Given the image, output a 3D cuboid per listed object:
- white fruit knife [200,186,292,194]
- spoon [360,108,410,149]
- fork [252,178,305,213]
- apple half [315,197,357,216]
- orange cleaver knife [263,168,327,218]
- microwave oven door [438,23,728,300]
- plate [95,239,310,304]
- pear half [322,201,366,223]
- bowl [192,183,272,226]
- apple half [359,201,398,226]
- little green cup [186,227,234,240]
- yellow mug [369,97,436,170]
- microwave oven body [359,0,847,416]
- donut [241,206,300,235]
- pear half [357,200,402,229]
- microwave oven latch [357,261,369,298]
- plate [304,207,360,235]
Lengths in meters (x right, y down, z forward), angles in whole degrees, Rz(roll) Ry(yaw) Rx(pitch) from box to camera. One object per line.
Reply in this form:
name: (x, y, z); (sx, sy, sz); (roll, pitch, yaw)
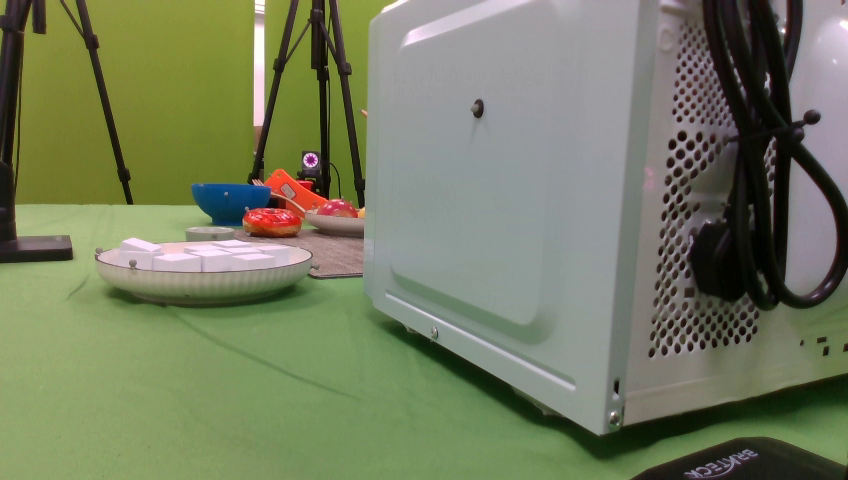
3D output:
white fruit knife: (-0.399, -0.111, 1.368); (0.208, 0.016, 0.027); (-4, -19, -30)
spoon: (-0.077, -0.209, 1.117); (0.042, 0.021, 0.193); (9, 28, -35)
fork: (-0.295, -0.084, 1.292); (0.206, 0.018, 0.028); (29, 10, 25)
apple half: (-0.162, -0.052, 1.121); (0.081, 0.053, 0.074); (4, 7, -14)
orange cleaver knife: (-0.263, -0.087, 1.353); (0.211, 0.077, 0.012); (28, 13, -1)
microwave oven door: (0.181, -0.072, 0.621); (0.358, 0.243, 0.039); (-2, 8, -29)
plate: (-0.224, 0.031, 0.629); (0.208, 0.039, 0.207); (3, 8, 0)
pear half: (-0.157, -0.059, 1.197); (0.088, 0.031, 0.070); (12, 30, -4)
bowl: (-0.381, -0.071, 1.202); (0.151, 0.077, 0.151); (3, 7, 0)
apple half: (-0.088, -0.058, 1.190); (0.081, 0.033, 0.081); (9, 29, -5)
little green cup: (-0.285, 0.005, 0.805); (0.061, 0.038, 0.061); (2, 8, 0)
yellow mug: (-0.041, -0.192, 1.049); (0.100, 0.131, 0.063); (-28, 48, -12)
microwave oven body: (0.211, -0.047, 0.474); (0.444, 0.260, 0.324); (-1, 7, -28)
donut: (-0.263, -0.032, 1.039); (0.099, 0.048, 0.099); (4, 10, 0)
pear half: (-0.074, -0.046, 1.133); (0.076, 0.056, 0.110); (12, 6, 31)
microwave oven latch: (-0.019, 0.033, 0.531); (0.079, 0.029, 0.030); (-1, 7, -26)
plate: (-0.123, -0.037, 1.149); (0.209, 0.038, 0.209); (2, 7, 0)
